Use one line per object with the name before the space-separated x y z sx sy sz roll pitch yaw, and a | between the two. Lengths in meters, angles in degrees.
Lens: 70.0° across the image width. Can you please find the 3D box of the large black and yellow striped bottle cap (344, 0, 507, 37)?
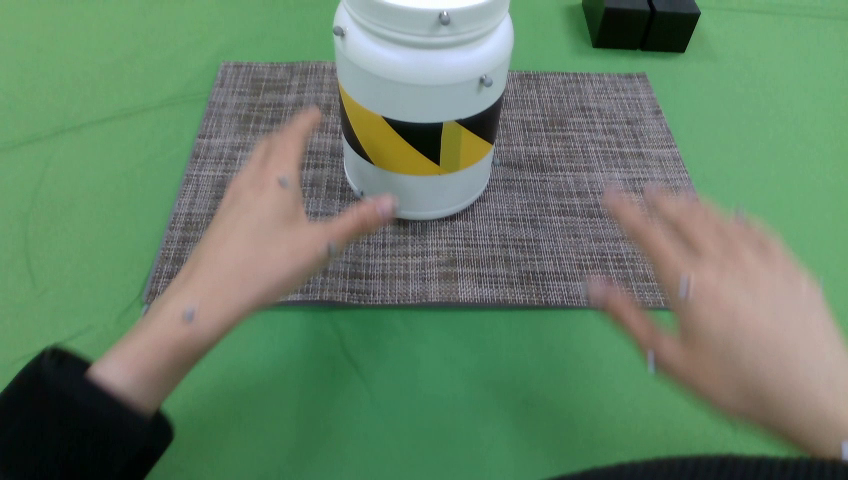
large black and yellow striped bottle cap | 0.001 -0.177 0.406 0.115 0.019 0.114 2 52 -2

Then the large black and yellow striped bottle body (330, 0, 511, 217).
large black and yellow striped bottle body | -0.004 -0.123 0.471 0.131 0.185 0.129 2 50 -2
